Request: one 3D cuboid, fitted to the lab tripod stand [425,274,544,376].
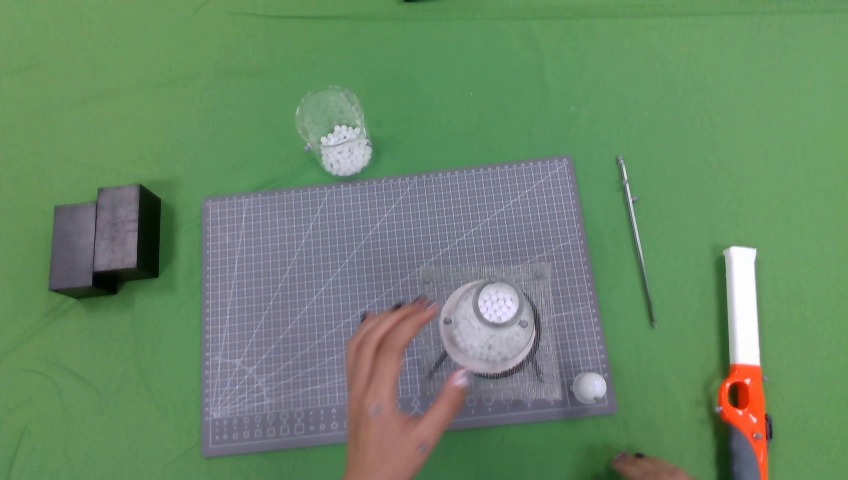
[{"bbox_3d":[0.062,0.096,0.610,0.148,0.132,0.147,-1,76,4],"label":"lab tripod stand"}]

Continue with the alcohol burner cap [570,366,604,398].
[{"bbox_3d":[0.173,0.148,0.637,0.034,0.048,0.033,-1,75,4],"label":"alcohol burner cap"}]

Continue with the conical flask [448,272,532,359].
[{"bbox_3d":[0.056,0.056,0.491,0.075,0.122,0.075,-1,76,3],"label":"conical flask"}]

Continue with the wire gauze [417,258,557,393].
[{"bbox_3d":[0.056,0.077,0.547,0.125,0.011,0.121,0,77,1],"label":"wire gauze"}]

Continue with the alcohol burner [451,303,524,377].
[{"bbox_3d":[0.064,0.099,0.619,0.078,0.120,0.077,-1,74,5],"label":"alcohol burner"}]

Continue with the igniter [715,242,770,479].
[{"bbox_3d":[0.335,0.137,0.641,0.057,0.025,0.275,7,75,-6],"label":"igniter"}]

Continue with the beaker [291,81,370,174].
[{"bbox_3d":[-0.100,-0.123,0.700,0.083,0.101,0.074,29,78,10],"label":"beaker"}]

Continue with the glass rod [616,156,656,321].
[{"bbox_3d":[0.242,-0.006,0.694,0.008,0.008,0.198,-7,74,1],"label":"glass rod"}]
